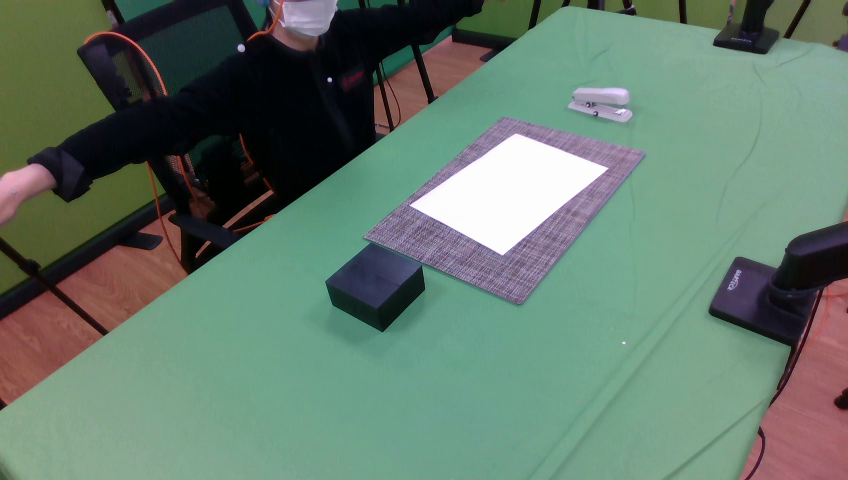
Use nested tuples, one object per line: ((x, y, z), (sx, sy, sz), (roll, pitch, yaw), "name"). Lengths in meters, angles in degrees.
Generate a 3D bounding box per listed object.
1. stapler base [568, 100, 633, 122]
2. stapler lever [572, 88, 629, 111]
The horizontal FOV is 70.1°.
((0.361, -0.273, 1.237), (0.129, 0.024, 0.041), (24, 48, 34), "stapler base")
((0.357, -0.292, 1.222), (0.117, 0.040, 0.027), (25, 49, 33), "stapler lever")
